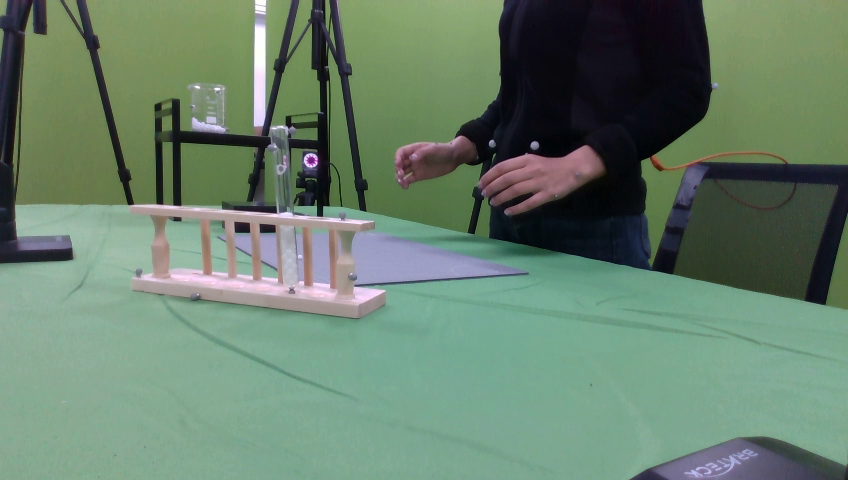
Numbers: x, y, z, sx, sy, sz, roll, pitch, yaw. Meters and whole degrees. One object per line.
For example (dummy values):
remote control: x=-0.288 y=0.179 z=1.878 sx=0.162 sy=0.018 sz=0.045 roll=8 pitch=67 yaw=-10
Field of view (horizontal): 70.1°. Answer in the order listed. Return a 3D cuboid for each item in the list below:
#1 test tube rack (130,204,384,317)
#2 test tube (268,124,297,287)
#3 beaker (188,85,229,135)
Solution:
test tube rack: x=-0.163 y=0.013 z=0.589 sx=0.242 sy=0.085 sz=0.067 roll=5 pitch=9 yaw=17
test tube: x=-0.130 y=-0.030 z=0.557 sx=0.017 sy=0.150 sz=0.017 roll=-3 pitch=6 yaw=1
beaker: x=-0.457 y=-0.275 z=1.283 sx=0.084 sy=0.100 sz=0.073 roll=-5 pitch=9 yaw=-40
